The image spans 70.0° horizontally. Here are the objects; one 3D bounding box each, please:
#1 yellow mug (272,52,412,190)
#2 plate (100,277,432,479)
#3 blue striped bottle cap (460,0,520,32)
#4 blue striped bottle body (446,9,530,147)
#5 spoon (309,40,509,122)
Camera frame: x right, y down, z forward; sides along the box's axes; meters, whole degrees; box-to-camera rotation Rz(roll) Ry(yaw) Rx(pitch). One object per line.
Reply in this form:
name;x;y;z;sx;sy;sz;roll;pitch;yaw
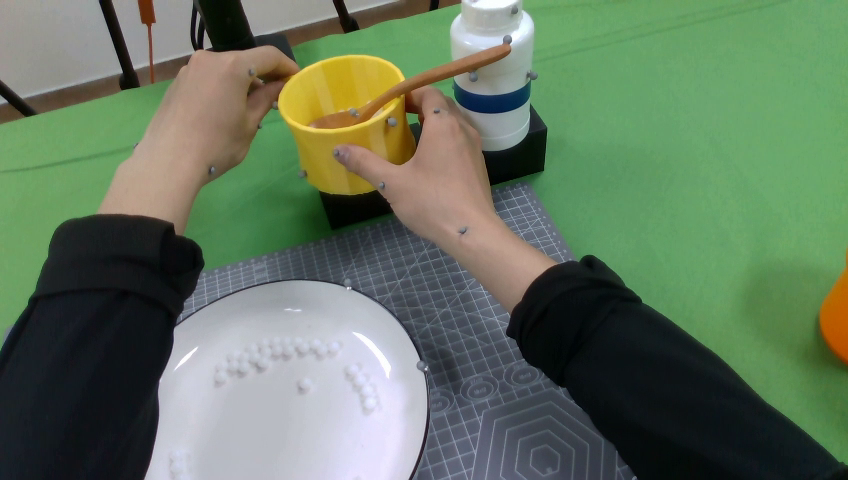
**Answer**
yellow mug;-0.076;-0.103;0.496;0.130;0.064;0.099;23;55;25
plate;-0.096;0.117;0.395;0.207;0.039;0.205;-3;50;4
blue striped bottle cap;0.047;-0.170;0.435;0.044;0.021;0.044;-5;51;6
blue striped bottle body;0.051;-0.137;0.474;0.063;0.122;0.062;-4;49;4
spoon;-0.022;-0.110;0.453;0.193;0.022;0.041;-16;36;38
